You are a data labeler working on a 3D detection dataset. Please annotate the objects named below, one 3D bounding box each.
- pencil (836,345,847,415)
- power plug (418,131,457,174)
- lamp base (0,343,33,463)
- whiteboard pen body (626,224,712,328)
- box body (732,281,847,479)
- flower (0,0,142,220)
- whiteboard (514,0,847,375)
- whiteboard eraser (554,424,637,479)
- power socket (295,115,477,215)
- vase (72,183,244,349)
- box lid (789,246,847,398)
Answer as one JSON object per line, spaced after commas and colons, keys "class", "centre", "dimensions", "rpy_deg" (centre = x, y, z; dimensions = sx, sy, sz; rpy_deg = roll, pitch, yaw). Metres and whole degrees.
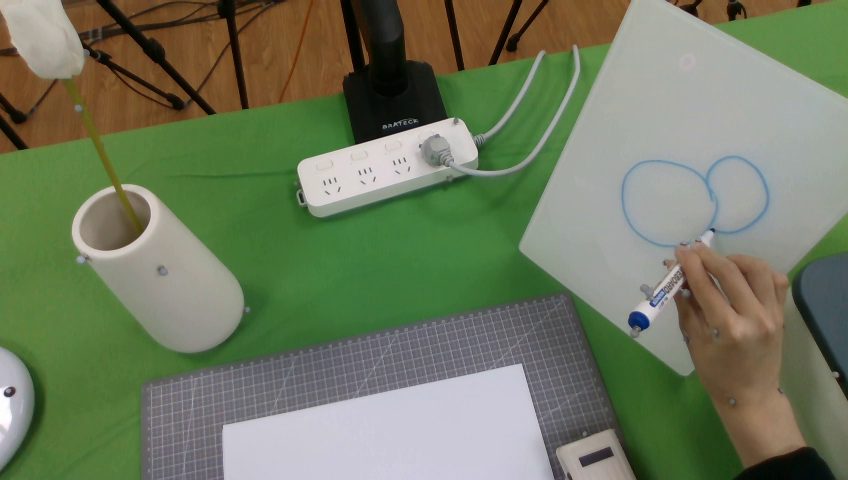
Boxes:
{"class": "pencil", "centre": [0.401, 0.192, 0.561], "dimensions": [0.012, 0.012, 0.192], "rpy_deg": [6, 65, 5]}
{"class": "power plug", "centre": [0.014, -0.092, 0.690], "dimensions": [0.035, 0.053, 0.072], "rpy_deg": [-8, 63, -2]}
{"class": "lamp base", "centre": [-0.477, 0.130, 0.523], "dimensions": [0.178, 0.182, 0.160], "rpy_deg": [17, 63, 14]}
{"class": "whiteboard pen body", "centre": [0.196, 0.023, 0.472], "dimensions": [0.017, 0.017, 0.140], "rpy_deg": [38, 54, 20]}
{"class": "box body", "centre": [0.454, 0.184, 0.483], "dimensions": [0.254, 0.161, 0.360], "rpy_deg": [-13, 62, -6]}
{"class": "flower", "centre": [-0.240, -0.027, 0.499], "dimensions": [0.038, 0.365, 0.043], "rpy_deg": [-23, 45, -18]}
{"class": "whiteboard", "centre": [0.254, -0.058, 0.573], "dimensions": [0.215, 0.307, 0.144], "rpy_deg": [40, 50, 21]}
{"class": "whiteboard eraser", "centre": [0.162, 0.224, 0.533], "dimensions": [0.056, 0.042, 0.111], "rpy_deg": [-16, 62, -9]}
{"class": "power socket", "centre": [-0.043, -0.090, 0.716], "dimensions": [0.227, 0.033, 0.071], "rpy_deg": [-17, 63, -8]}
{"class": "vase", "centre": [-0.240, 0.030, 0.562], "dimensions": [0.098, 0.201, 0.097], "rpy_deg": [-1, 61, 3]}
{"class": "box lid", "centre": [0.452, 0.146, 0.419], "dimensions": [0.263, 0.015, 0.368], "rpy_deg": [-13, 63, -6]}
